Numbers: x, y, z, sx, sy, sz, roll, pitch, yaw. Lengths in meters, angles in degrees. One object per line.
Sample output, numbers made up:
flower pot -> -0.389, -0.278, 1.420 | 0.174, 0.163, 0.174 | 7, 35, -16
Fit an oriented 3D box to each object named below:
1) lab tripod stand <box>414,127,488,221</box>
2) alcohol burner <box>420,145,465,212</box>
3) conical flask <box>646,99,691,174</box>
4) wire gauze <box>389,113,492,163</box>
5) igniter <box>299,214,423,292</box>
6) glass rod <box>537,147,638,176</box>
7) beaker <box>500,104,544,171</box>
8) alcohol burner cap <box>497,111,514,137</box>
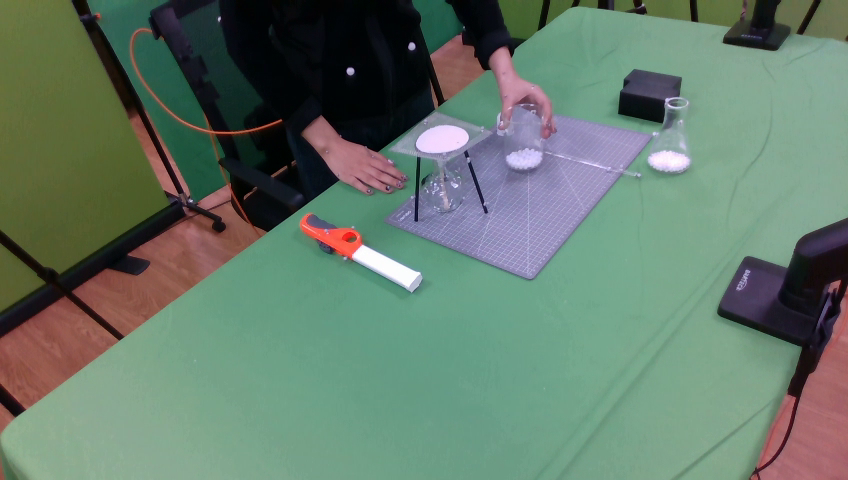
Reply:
lab tripod stand -> 0.035, -0.114, 1.021 | 0.148, 0.132, 0.147 | -7, 39, 6
alcohol burner -> 0.031, -0.108, 1.030 | 0.078, 0.119, 0.077 | -5, 38, 4
conical flask -> 0.426, -0.180, 1.037 | 0.075, 0.122, 0.075 | -5, 40, 5
wire gauze -> 0.026, -0.164, 0.977 | 0.120, 0.011, 0.125 | 24, 49, 35
igniter -> -0.113, 0.016, 0.983 | 0.274, 0.025, 0.057 | 26, 62, 35
glass rod -> 0.294, -0.145, 1.104 | 0.198, 0.008, 0.008 | 22, 50, 31
beaker -> 0.181, -0.182, 1.084 | 0.074, 0.101, 0.083 | -35, 45, -29
alcohol burner cap -> 0.163, -0.235, 1.211 | 0.034, 0.048, 0.033 | -6, 40, 6
